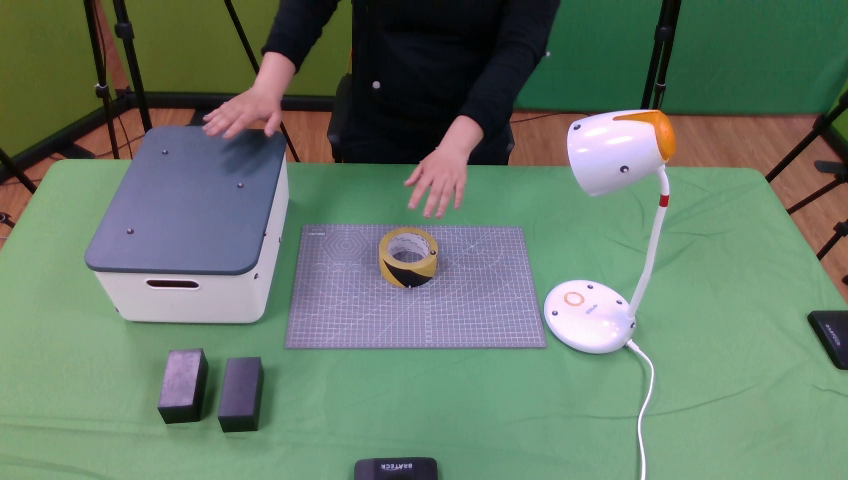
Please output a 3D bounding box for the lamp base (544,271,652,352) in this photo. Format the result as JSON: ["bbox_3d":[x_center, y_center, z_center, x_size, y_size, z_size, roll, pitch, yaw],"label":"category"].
[{"bbox_3d":[0.309,0.086,1.029,0.178,0.181,0.160,32,52,21],"label":"lamp base"}]

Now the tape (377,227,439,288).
[{"bbox_3d":[-0.031,0.032,1.141,0.117,0.053,0.116,2,46,-2],"label":"tape"}]

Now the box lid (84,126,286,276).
[{"bbox_3d":[-0.393,-0.081,1.046,0.263,0.015,0.369,2,46,-3],"label":"box lid"}]

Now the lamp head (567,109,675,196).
[{"bbox_3d":[0.272,-0.123,0.818,0.122,0.113,0.112,-9,35,37],"label":"lamp head"}]

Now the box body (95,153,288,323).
[{"bbox_3d":[-0.396,-0.031,1.100,0.254,0.161,0.361,1,46,-3],"label":"box body"}]
